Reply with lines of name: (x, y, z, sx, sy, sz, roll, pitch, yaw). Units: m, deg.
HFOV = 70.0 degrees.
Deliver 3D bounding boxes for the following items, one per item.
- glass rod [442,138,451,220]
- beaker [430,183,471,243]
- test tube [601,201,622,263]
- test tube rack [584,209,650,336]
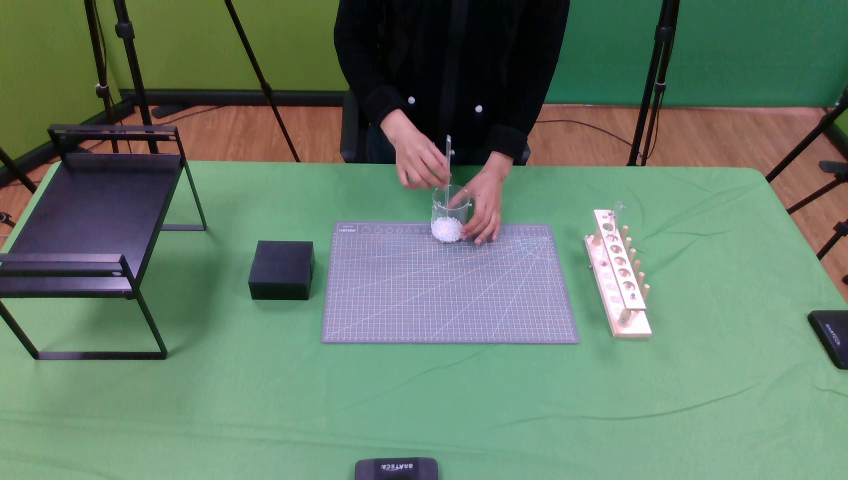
glass rod: (0.042, -0.108, 1.126, 0.008, 0.201, 0.008, 1, 47, -1)
beaker: (0.048, -0.052, 1.195, 0.074, 0.101, 0.083, -14, 48, -17)
test tube: (0.346, -0.012, 1.123, 0.017, 0.151, 0.017, -2, 44, 2)
test tube rack: (0.365, 0.056, 1.129, 0.067, 0.085, 0.240, 1, 46, -3)
